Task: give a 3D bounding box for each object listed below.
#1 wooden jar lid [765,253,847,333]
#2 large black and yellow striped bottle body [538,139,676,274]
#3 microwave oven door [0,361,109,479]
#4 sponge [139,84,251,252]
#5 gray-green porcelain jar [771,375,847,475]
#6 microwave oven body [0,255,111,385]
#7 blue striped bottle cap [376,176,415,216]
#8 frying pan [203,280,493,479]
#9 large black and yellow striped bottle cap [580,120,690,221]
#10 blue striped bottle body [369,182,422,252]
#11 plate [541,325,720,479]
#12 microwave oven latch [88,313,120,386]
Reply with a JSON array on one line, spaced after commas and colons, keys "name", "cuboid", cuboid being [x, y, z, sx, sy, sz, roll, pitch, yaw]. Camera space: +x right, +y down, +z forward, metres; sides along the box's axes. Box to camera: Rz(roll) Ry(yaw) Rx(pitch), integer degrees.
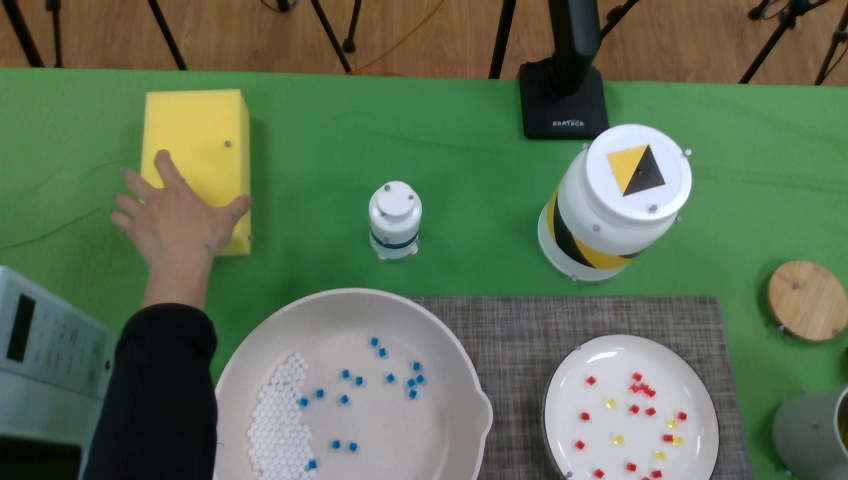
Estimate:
[{"name": "wooden jar lid", "cuboid": [0.500, 0.070, 0.796, 0.108, 0.021, 0.107, 1, 71, -4]}, {"name": "large black and yellow striped bottle body", "cuboid": [0.220, -0.046, 0.728, 0.131, 0.185, 0.130, 2, 69, -4]}, {"name": "microwave oven door", "cuboid": [-0.355, 0.291, 0.506, 0.039, 0.245, 0.353, 0, 69, -4]}, {"name": "sponge", "cuboid": [-0.286, -0.092, 0.768, 0.118, 0.061, 0.205, -5, 71, -7]}, {"name": "gray-green porcelain jar", "cuboid": [0.471, 0.210, 0.686, 0.106, 0.127, 0.105, 2, 69, -4]}, {"name": "microwave oven body", "cuboid": [-0.500, 0.252, 0.514, 0.326, 0.261, 0.438, 1, 70, -5]}, {"name": "blue striped bottle cap", "cuboid": [-0.032, -0.050, 0.687, 0.044, 0.021, 0.044, 1, 67, -2]}, {"name": "frying pan", "cuboid": [-0.075, 0.283, 0.623, 0.307, 0.103, 0.483, -1, 62, -3]}, {"name": "large black and yellow striped bottle cap", "cuboid": [0.225, -0.076, 0.648, 0.115, 0.019, 0.114, 2, 68, -3]}, {"name": "blue striped bottle body", "cuboid": [-0.035, -0.033, 0.735, 0.063, 0.121, 0.062, 2, 70, -4]}, {"name": "plate", "cuboid": [0.238, 0.205, 0.712, 0.209, 0.038, 0.207, 1, 70, -3]}, {"name": "microwave oven latch", "cuboid": [-0.362, 0.122, 0.676, 0.030, 0.029, 0.078, 3, 70, -4]}]
